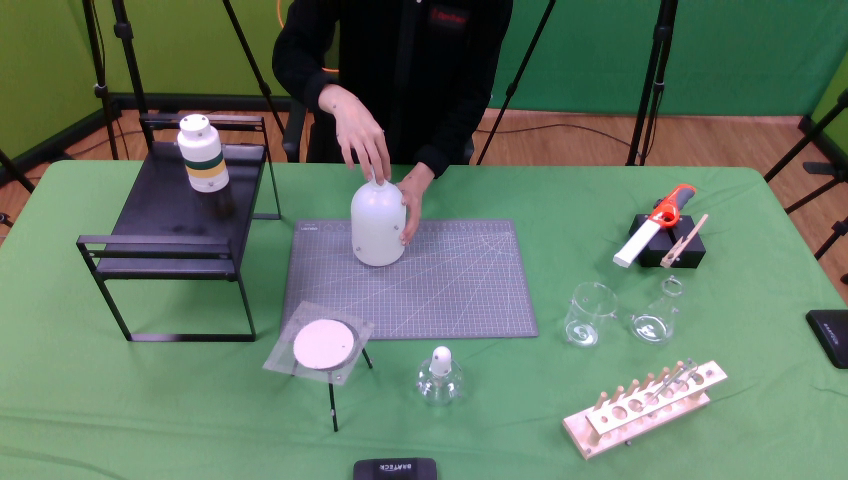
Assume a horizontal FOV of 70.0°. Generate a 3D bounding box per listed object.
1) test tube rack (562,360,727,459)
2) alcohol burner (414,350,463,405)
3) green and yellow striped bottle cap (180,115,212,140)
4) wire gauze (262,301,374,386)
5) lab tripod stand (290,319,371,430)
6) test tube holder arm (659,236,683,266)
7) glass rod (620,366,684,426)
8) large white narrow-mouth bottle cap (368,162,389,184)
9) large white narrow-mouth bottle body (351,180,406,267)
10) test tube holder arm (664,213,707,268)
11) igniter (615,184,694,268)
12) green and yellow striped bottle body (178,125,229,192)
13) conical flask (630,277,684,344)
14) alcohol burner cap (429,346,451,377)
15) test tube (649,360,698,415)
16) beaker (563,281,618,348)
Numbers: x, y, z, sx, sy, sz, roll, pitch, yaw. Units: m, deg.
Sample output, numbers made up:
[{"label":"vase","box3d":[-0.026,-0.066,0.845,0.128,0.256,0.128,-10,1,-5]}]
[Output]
[{"label":"test tube rack","box3d":[0.341,0.247,0.940,0.243,0.085,0.066,-16,49,-18]},{"label":"alcohol burner","box3d":[0.023,0.205,0.939,0.078,0.120,0.077,1,47,-1]},{"label":"green and yellow striped bottle cap","box3d":[-0.358,-0.177,0.951,0.045,0.020,0.045,2,45,-1]},{"label":"wire gauze","box3d":[-0.150,0.148,0.873,0.121,0.011,0.124,14,46,12]},{"label":"lab tripod stand","box3d":[-0.146,0.194,0.923,0.148,0.132,0.147,1,47,-1]},{"label":"test tube holder arm","box3d":[0.472,0.020,1.149,0.010,0.015,0.088,34,54,27]},{"label":"glass rod","box3d":[0.322,0.227,0.866,0.008,0.200,0.008,5,51,-7]},{"label":"large white narrow-mouth bottle cap","box3d":[-0.078,-0.116,1.048,0.038,0.024,0.037,3,44,-2]},{"label":"large white narrow-mouth bottle body","box3d":[-0.084,-0.047,1.114,0.102,0.195,0.101,2,44,-2]},{"label":"test tube holder arm","box3d":[0.507,-0.001,1.171,0.013,0.015,0.178,33,53,26]},{"label":"igniter","box3d":[0.459,-0.035,1.197,0.057,0.025,0.276,32,55,27]},{"label":"green and yellow striped bottle body","box3d":[-0.361,-0.142,0.989,0.063,0.120,0.063,2,46,-2]},{"label":"conical flask","box3d":[0.408,0.117,1.045,0.075,0.122,0.075,2,46,-2]},{"label":"alcohol burner cap","box3d":[0.026,0.180,0.912,0.034,0.048,0.033,1,47,-1]},{"label":"test tube","box3d":[0.365,0.222,0.898,0.017,0.151,0.017,4,49,-5]},{"label":"beaker","box3d":[0.283,0.129,1.041,0.074,0.101,0.083,11,46,7]}]
